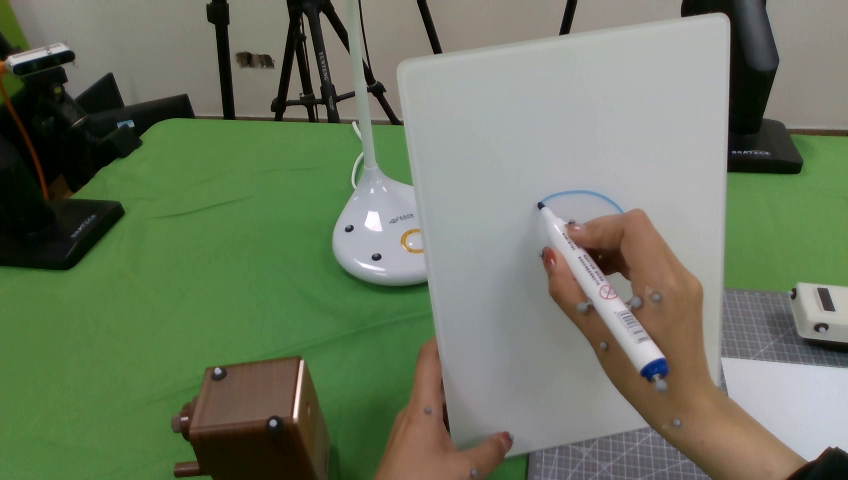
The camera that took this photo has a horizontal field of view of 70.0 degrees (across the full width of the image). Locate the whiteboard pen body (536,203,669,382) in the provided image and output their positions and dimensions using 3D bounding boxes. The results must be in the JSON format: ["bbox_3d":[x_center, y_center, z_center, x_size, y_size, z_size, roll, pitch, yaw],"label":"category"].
[{"bbox_3d":[0.099,0.023,0.358,0.017,0.017,0.139,-15,48,-12],"label":"whiteboard pen body"}]

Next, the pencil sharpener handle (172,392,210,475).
[{"bbox_3d":[-0.168,0.140,0.428,0.030,0.068,0.035,-6,26,0],"label":"pencil sharpener handle"}]

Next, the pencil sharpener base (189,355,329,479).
[{"bbox_3d":[-0.117,0.142,0.439,0.077,0.108,0.060,-6,39,0],"label":"pencil sharpener base"}]

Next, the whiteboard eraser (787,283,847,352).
[{"bbox_3d":[0.380,0.070,0.521,0.112,0.042,0.055,6,41,14],"label":"whiteboard eraser"}]

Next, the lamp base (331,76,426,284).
[{"bbox_3d":[-0.038,-0.072,0.640,0.161,0.182,0.177,-28,41,-25],"label":"lamp base"}]

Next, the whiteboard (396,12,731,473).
[{"bbox_3d":[0.101,-0.004,0.485,0.217,0.307,0.143,-10,19,-4],"label":"whiteboard"}]
